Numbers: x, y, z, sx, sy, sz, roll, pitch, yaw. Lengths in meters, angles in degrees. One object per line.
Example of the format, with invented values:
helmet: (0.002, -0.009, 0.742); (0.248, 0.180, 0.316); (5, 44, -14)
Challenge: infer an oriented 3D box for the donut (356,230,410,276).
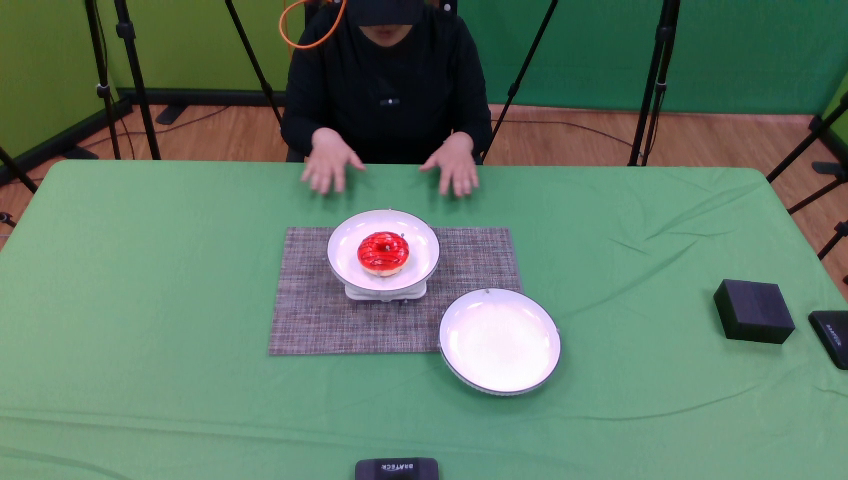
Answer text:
donut: (-0.073, 0.022, 1.097); (0.099, 0.048, 0.098); (0, 45, 0)

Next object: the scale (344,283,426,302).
scale: (-0.075, 0.033, 1.149); (0.149, 0.032, 0.199); (0, 46, -5)

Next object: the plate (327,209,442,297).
plate: (-0.072, 0.027, 1.109); (0.208, 0.039, 0.206); (2, 46, -2)

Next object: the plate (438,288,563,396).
plate: (0.127, 0.173, 1.025); (0.209, 0.038, 0.208); (3, 48, -3)
